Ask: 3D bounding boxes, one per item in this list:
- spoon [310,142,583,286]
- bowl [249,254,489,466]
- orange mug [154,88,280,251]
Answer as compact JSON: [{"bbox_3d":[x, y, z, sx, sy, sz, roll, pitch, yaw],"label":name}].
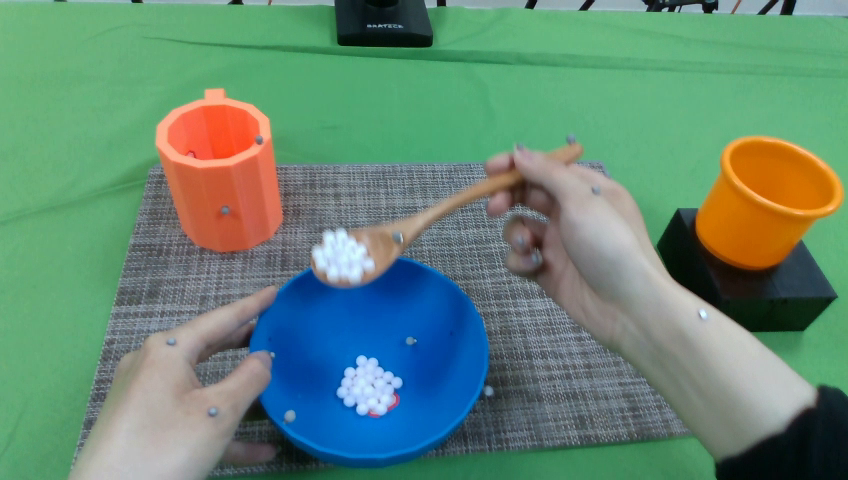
[{"bbox_3d":[0.018,-0.020,0.389,0.194,0.022,0.041,-28,47,-3],"label":"spoon"},{"bbox_3d":[-0.036,0.089,0.409,0.151,0.077,0.150,4,48,-4],"label":"bowl"},{"bbox_3d":[-0.173,-0.068,0.516,0.084,0.101,0.125,-8,55,-13],"label":"orange mug"}]
